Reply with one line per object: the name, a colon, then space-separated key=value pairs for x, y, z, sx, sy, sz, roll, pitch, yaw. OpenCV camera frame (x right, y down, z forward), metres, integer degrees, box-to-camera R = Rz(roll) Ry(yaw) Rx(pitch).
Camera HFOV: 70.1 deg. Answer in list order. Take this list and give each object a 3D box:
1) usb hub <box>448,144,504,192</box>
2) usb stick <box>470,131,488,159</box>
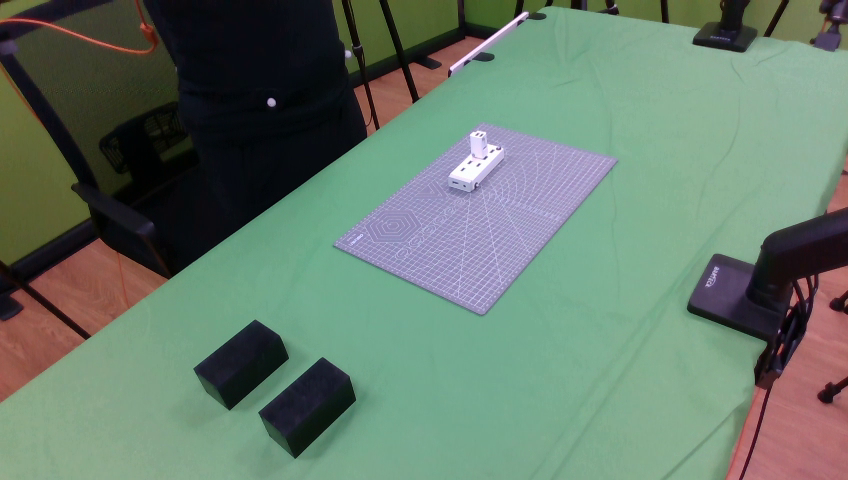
usb hub: x=0.097 y=-0.133 z=1.105 sx=0.049 sy=0.025 sz=0.125 roll=20 pitch=48 yaw=28
usb stick: x=0.100 y=-0.166 z=1.100 sx=0.027 sy=0.059 sz=0.021 roll=18 pitch=46 yaw=25
